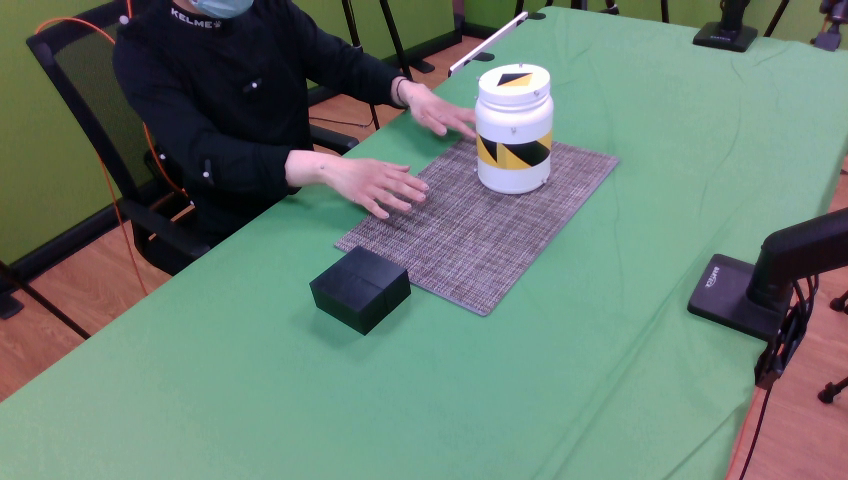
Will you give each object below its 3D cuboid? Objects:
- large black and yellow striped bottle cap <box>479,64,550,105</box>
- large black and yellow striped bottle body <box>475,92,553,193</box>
[{"bbox_3d":[0.146,-0.253,0.978,0.115,0.019,0.114,-5,40,5],"label":"large black and yellow striped bottle cap"},{"bbox_3d":[0.153,-0.187,1.034,0.131,0.185,0.130,-4,41,4],"label":"large black and yellow striped bottle body"}]
